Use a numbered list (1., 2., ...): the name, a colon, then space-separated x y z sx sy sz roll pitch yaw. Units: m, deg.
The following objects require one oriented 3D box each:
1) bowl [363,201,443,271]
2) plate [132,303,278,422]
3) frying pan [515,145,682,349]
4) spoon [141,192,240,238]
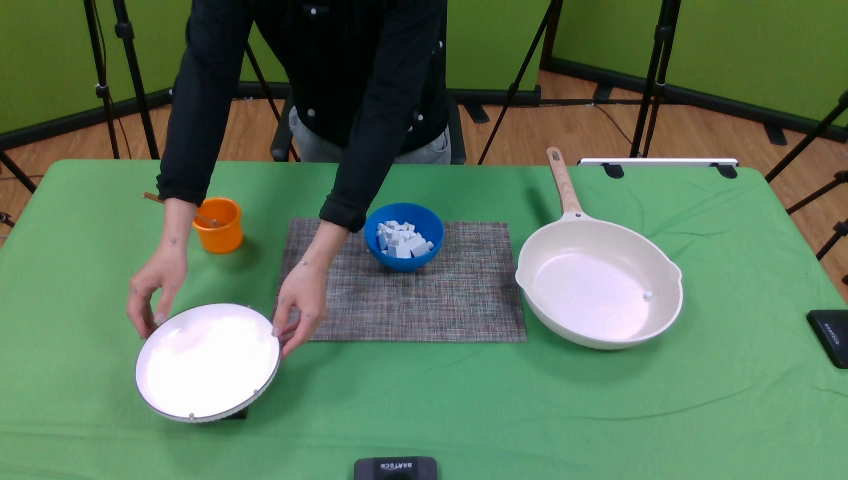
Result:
1. bowl: -0.041 0.006 1.144 0.151 0.077 0.150 2 46 -2
2. plate: -0.325 0.186 0.916 0.208 0.039 0.206 2 44 -2
3. frying pan: 0.303 -0.004 1.168 0.307 0.103 0.484 -1 55 -7
4. spoon: -0.428 -0.048 1.123 0.021 0.195 0.041 -39 44 20
